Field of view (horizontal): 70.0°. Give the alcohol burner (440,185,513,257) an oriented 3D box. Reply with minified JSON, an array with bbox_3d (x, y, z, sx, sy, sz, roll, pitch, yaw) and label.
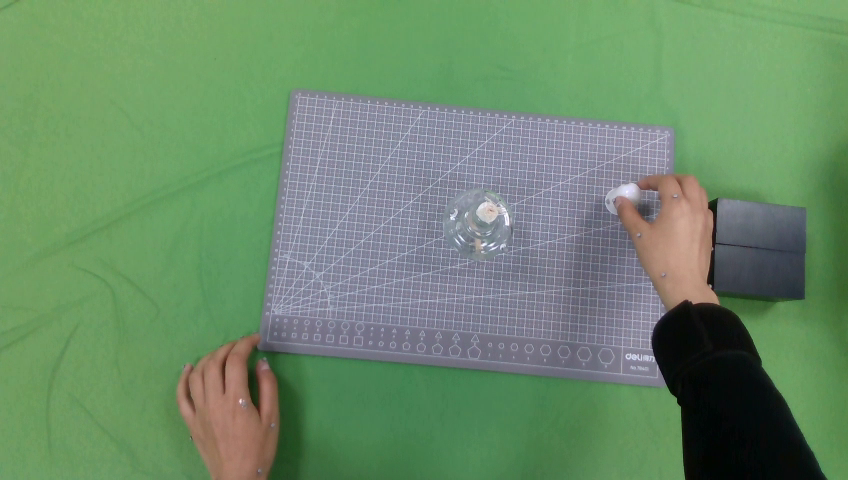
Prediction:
[{"bbox_3d":[0.057,-0.023,0.632,0.078,0.119,0.077,1,82,-4],"label":"alcohol burner"}]

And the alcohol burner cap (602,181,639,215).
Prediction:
[{"bbox_3d":[0.222,-0.049,0.679,0.034,0.048,0.033,0,80,-2],"label":"alcohol burner cap"}]
